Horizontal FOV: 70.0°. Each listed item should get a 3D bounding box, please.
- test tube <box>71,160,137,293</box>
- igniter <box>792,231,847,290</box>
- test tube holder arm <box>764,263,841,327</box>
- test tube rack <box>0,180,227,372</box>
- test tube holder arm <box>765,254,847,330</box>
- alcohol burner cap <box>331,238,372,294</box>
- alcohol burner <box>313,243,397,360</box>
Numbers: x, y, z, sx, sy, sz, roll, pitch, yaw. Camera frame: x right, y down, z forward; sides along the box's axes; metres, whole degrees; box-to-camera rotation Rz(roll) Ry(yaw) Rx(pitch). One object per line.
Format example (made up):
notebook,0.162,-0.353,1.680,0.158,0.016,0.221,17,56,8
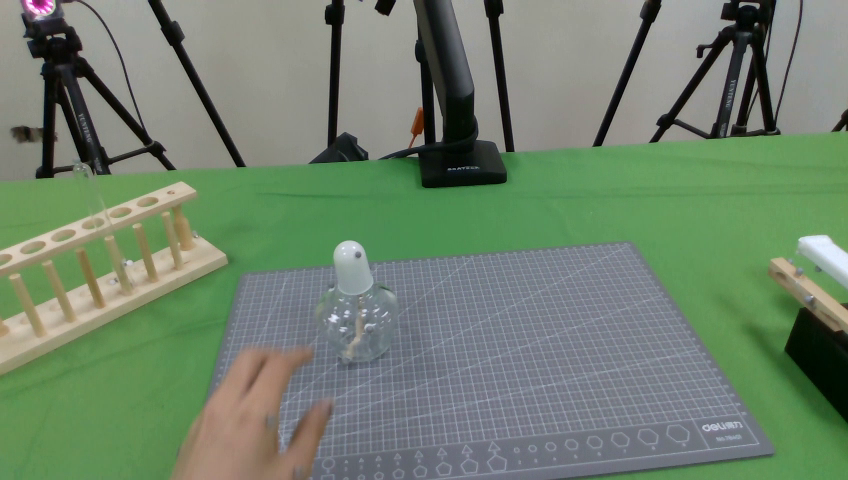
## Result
test tube,-0.312,-0.009,0.594,0.017,0.151,0.017,-1,35,1
igniter,0.398,0.068,0.490,0.057,0.025,0.274,-6,31,-4
test tube holder arm,0.337,0.046,0.537,0.015,0.010,0.087,-14,32,-6
test tube rack,-0.335,0.028,0.622,0.066,0.086,0.242,28,44,36
test tube holder arm,0.346,0.064,0.497,0.015,0.013,0.176,-14,33,-6
alcohol burner cap,-0.064,0.019,0.525,0.034,0.048,0.033,-3,38,3
alcohol burner,-0.063,0.049,0.545,0.078,0.120,0.077,0,36,0
